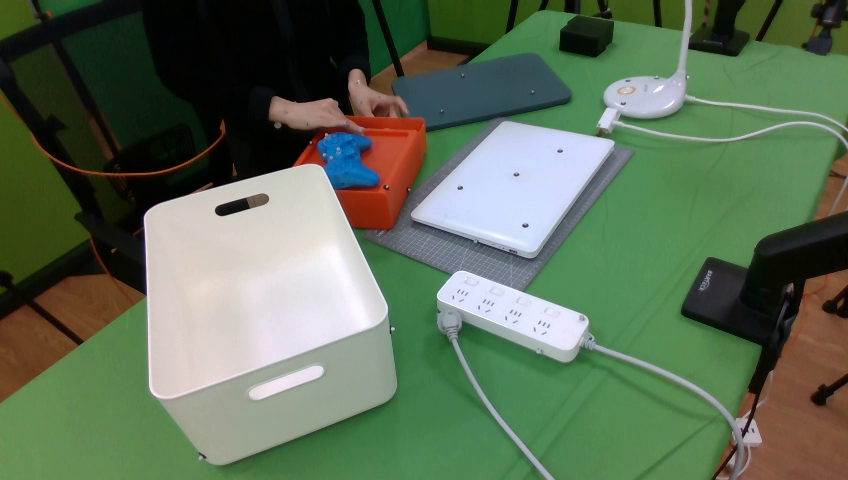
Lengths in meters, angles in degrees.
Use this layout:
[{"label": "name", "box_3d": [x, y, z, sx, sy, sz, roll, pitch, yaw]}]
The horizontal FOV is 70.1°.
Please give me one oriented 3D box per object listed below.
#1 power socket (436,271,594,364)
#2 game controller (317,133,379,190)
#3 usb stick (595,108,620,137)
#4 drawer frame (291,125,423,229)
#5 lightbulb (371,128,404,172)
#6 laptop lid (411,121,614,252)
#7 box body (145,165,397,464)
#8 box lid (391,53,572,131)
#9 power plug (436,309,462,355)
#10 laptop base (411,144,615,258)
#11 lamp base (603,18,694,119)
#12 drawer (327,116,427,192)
[{"label": "power socket", "box_3d": [0.118, 0.102, 0.830, 0.225, 0.033, 0.072, 20, 48, 28]}, {"label": "game controller", "box_3d": [-0.133, -0.140, 1.031, 0.097, 0.052, 0.154, -13, 38, -1]}, {"label": "usb stick", "box_3d": [0.355, -0.225, 1.175, 0.027, 0.022, 0.059, 29, 85, 41]}, {"label": "drawer frame", "box_3d": [-0.124, -0.119, 1.085, 0.201, 0.083, 0.213, 5, 41, 13]}, {"label": "lightbulb", "box_3d": [-0.064, -0.168, 1.148, 0.060, 0.060, 0.107, -16, 52, -11]}, {"label": "laptop lid", "box_3d": [0.164, -0.112, 1.068, 0.240, 0.013, 0.357, 19, 46, 30]}, {"label": "box body", "box_3d": [-0.205, 0.080, 0.802, 0.255, 0.161, 0.361, -18, 41, -13]}, {"label": "box lid", "box_3d": [0.122, -0.339, 1.366, 0.372, 0.015, 0.261, -12, 40, -5]}, {"label": "power plug", "box_3d": [0.032, 0.126, 0.810, 0.035, 0.053, 0.072, 3, 59, 7]}, {"label": "laptop base", "box_3d": [0.167, -0.102, 1.074, 0.234, 0.023, 0.355, 16, 45, 30]}, {"label": "lamp base", "box_3d": [0.460, -0.355, 1.205, 0.179, 0.181, 0.160, 2, 41, 7]}, {"label": "drawer", "box_3d": [-0.113, -0.150, 1.123, 0.194, 0.073, 0.211, 5, 40, 13]}]
